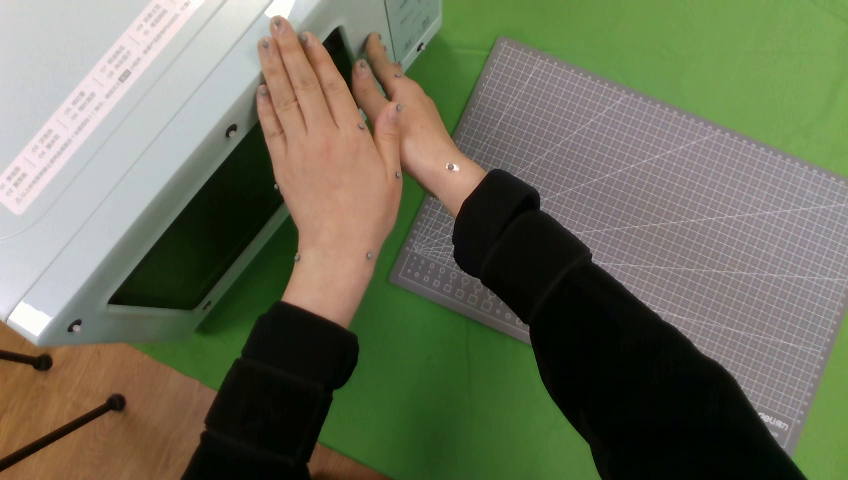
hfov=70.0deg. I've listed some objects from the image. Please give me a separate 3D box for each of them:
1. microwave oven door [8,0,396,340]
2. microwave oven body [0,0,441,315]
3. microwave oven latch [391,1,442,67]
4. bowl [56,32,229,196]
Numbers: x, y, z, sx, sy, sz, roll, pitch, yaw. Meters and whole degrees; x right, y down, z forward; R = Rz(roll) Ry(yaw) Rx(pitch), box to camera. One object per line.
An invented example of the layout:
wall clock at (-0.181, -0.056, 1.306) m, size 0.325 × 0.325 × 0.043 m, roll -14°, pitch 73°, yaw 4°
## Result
microwave oven door at (-0.155, -0.066, 0.524) m, size 0.039 × 0.244 × 0.355 m, roll 37°, pitch 85°, yaw 6°
microwave oven body at (-0.242, -0.187, 0.546) m, size 0.325 × 0.261 × 0.441 m, roll 38°, pitch 86°, yaw 5°
microwave oven latch at (-0.013, -0.224, 0.642) m, size 0.030 × 0.029 × 0.079 m, roll 40°, pitch 86°, yaw 5°
bowl at (-0.247, -0.106, 0.568) m, size 0.151 × 0.077 × 0.151 m, roll 0°, pitch 80°, yaw 3°
